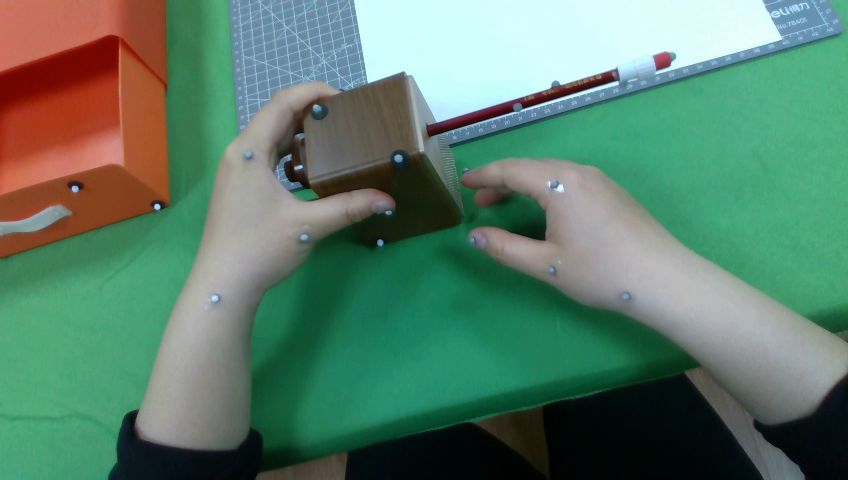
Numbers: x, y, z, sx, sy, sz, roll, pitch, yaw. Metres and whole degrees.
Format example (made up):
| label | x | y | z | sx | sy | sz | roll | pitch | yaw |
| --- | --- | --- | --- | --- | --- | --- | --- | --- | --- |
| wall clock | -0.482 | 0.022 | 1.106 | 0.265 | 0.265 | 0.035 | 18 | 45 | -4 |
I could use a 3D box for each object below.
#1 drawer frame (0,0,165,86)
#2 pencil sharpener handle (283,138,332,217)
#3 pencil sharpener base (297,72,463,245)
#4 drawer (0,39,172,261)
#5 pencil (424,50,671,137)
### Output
| label | x | y | z | sx | sy | sz | roll | pitch | yaw |
| --- | --- | --- | --- | --- | --- | --- | --- | --- | --- |
| drawer frame | -0.343 | -0.205 | 0.546 | 0.201 | 0.083 | 0.211 | -16 | 65 | 7 |
| pencil sharpener handle | -0.077 | -0.035 | 0.392 | 0.030 | 0.068 | 0.035 | -15 | 60 | 13 |
| pencil sharpener base | -0.026 | -0.046 | 0.393 | 0.076 | 0.108 | 0.061 | -15 | 67 | 13 |
| drawer | -0.317 | -0.100 | 0.500 | 0.194 | 0.074 | 0.210 | -17 | 65 | 7 |
| pencil | 0.043 | -0.076 | 0.352 | 0.194 | 0.012 | 0.012 | -15 | 66 | 11 |
